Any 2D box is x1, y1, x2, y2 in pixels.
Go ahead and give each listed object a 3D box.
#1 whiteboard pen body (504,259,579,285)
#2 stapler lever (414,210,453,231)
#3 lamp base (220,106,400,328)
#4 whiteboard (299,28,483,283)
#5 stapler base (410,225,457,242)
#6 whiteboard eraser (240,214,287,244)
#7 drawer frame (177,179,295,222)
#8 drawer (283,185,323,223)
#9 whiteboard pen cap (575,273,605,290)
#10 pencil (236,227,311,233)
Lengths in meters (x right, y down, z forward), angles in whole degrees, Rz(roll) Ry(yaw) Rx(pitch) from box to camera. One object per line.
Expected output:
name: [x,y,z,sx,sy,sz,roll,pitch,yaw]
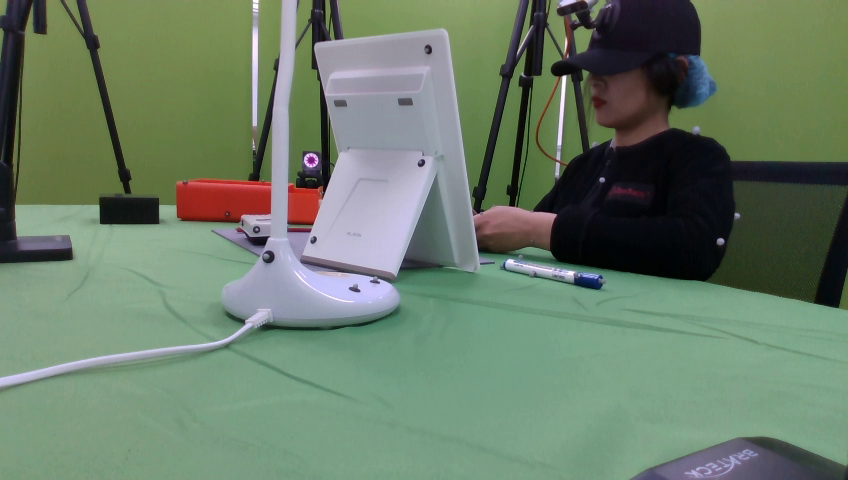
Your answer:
whiteboard pen body: [0.157,0.042,0.764,0.017,0.017,0.140,-4,11,-41]
stapler lever: [0.017,-0.039,1.128,0.027,0.040,0.117,2,5,-26]
lamp base: [-0.101,-0.023,0.531,0.160,0.180,0.179,4,10,10]
whiteboard: [-0.075,-0.082,0.741,0.216,0.305,0.144,9,30,38]
stapler base: [0.017,-0.014,1.129,0.041,0.024,0.130,2,5,-26]
whiteboard eraser: [-0.256,-0.018,0.958,0.056,0.042,0.112,0,8,-25]
drawer frame: [-0.397,-0.088,1.315,0.214,0.082,0.201,1,8,-7]
drawer: [-0.329,-0.085,1.325,0.212,0.073,0.194,1,8,-7]
whiteboard pen cap: [0.197,0.048,0.719,0.018,0.018,0.033,-4,11,-41]
pencil: [-0.239,-0.017,1.093,0.195,0.012,0.012,1,7,-27]
